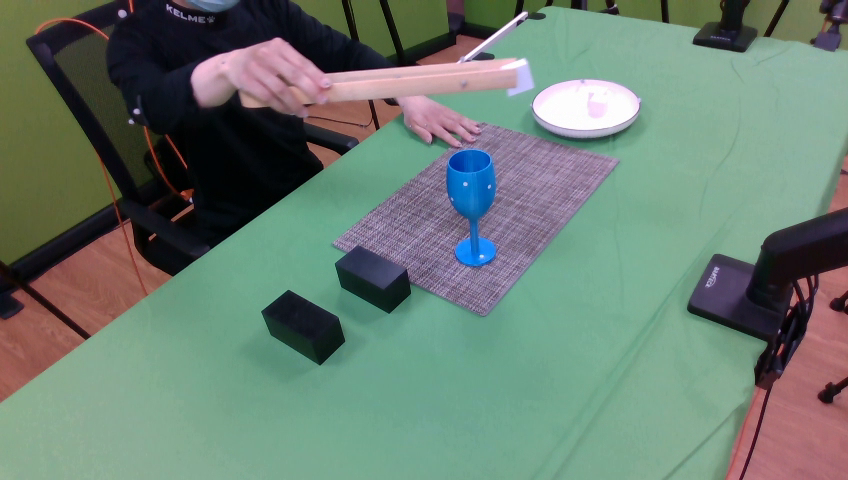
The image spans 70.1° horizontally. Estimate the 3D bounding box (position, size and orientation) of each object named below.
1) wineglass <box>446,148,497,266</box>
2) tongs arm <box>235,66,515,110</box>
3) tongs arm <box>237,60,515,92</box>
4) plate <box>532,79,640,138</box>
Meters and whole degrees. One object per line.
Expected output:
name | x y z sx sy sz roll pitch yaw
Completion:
wineglass | 0.072 -0.045 0.889 0.074 0.173 0.073 -4 41 4
tongs arm | -0.074 -0.203 0.808 0.387 0.028 0.028 -3 34 10
tongs arm | -0.070 -0.215 0.828 0.384 0.026 0.050 -1 30 13
plate | 0.322 -0.259 1.212 0.209 0.038 0.208 -4 40 4
